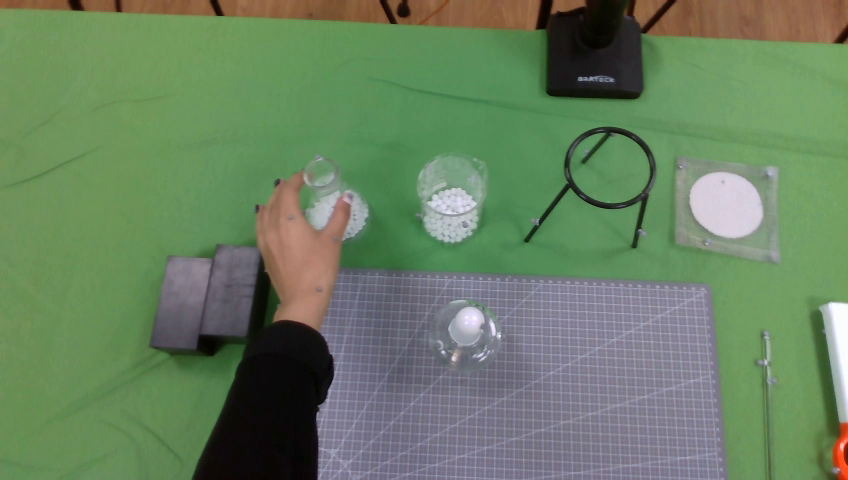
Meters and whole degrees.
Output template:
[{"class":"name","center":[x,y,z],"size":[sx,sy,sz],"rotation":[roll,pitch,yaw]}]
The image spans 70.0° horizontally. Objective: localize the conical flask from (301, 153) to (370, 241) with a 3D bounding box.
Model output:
[{"class":"conical flask","center":[-0.104,-0.051,0.670],"size":[0.075,0.122,0.075],"rotation":[0,71,2]}]

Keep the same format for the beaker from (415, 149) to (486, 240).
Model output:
[{"class":"beaker","center":[0.031,-0.048,0.678],"size":[0.084,0.101,0.073],"rotation":[-37,75,-11]}]

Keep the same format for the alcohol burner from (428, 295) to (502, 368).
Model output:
[{"class":"alcohol burner","center":[0.043,0.091,0.621],"size":[0.078,0.120,0.077],"rotation":[0,71,-1]}]

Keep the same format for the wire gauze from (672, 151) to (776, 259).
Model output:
[{"class":"wire gauze","center":[0.357,-0.045,0.719],"size":[0.125,0.011,0.121],"rotation":[10,73,2]}]

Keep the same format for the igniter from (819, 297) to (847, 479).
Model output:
[{"class":"igniter","center":[0.447,0.196,0.627],"size":[0.057,0.025,0.275],"rotation":[6,72,-8]}]

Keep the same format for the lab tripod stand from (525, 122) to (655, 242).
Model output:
[{"class":"lab tripod stand","center":[0.183,-0.055,0.659],"size":[0.148,0.132,0.147],"rotation":[0,73,2]}]

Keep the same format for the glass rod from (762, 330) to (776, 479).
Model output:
[{"class":"glass rod","center":[0.364,0.193,0.639],"size":[0.008,0.008,0.198],"rotation":[7,72,3]}]

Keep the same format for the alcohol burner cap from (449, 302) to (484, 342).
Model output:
[{"class":"alcohol burner cap","center":[0.043,0.077,0.588],"size":[0.034,0.048,0.033],"rotation":[3,65,-6]}]
